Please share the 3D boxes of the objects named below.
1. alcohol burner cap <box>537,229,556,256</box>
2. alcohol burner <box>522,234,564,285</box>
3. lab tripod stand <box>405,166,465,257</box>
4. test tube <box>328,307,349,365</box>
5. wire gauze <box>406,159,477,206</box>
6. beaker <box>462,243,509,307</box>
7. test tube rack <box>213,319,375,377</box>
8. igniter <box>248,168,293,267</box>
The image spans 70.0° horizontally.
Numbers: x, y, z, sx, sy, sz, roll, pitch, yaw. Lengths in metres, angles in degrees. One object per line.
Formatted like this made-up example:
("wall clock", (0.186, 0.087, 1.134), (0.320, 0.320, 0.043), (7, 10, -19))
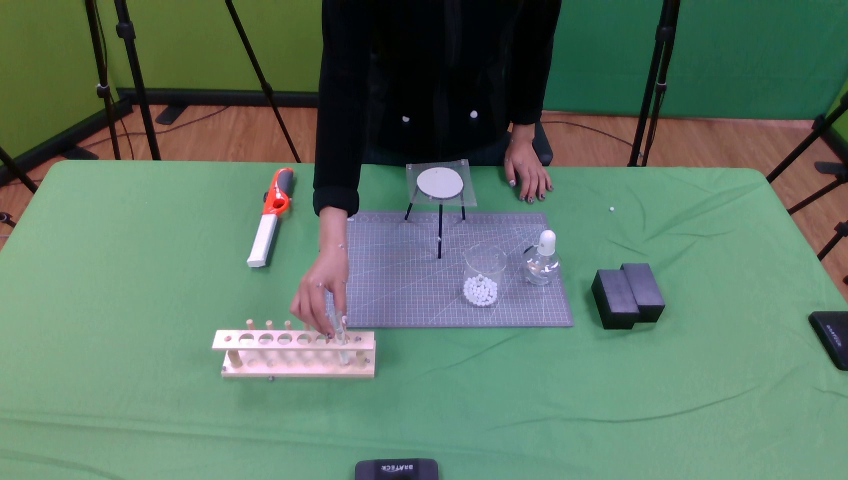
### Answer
("alcohol burner cap", (0.223, 0.002, 1.095), (0.034, 0.048, 0.033), (-1, 44, 1))
("alcohol burner", (0.223, 0.027, 1.120), (0.078, 0.119, 0.077), (2, 48, -2))
("lab tripod stand", (0.030, -0.062, 1.179), (0.148, 0.132, 0.147), (3, 47, -3))
("test tube", (-0.131, 0.151, 0.931), (0.017, 0.151, 0.017), (0, 50, 0))
("wire gauze", (0.031, -0.107, 1.129), (0.125, 0.011, 0.120), (-1, 48, -5))
("beaker", (0.105, 0.064, 1.086), (0.084, 0.101, 0.073), (18, 47, 14))
("test tube rack", (-0.202, 0.170, 0.976), (0.242, 0.085, 0.066), (1, 46, -3))
("igniter", (-0.308, -0.055, 1.225), (0.057, 0.025, 0.275), (-3, 45, 6))
